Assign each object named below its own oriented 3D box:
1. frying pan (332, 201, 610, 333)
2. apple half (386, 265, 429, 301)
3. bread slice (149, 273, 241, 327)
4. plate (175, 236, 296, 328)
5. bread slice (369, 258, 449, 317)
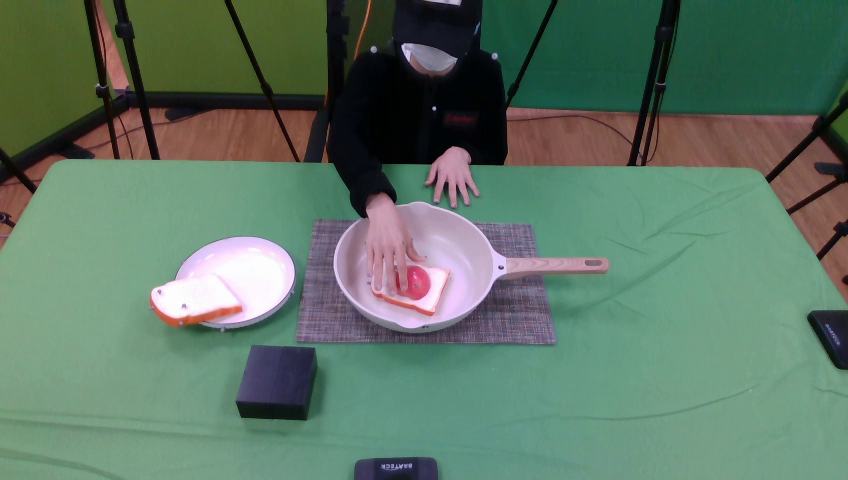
[{"bbox_3d":[0.085,0.052,1.093,0.488,0.103,0.305,-1,46,6],"label":"frying pan"},{"bbox_3d":[-0.027,0.068,1.090,0.081,0.033,0.081,4,47,-4],"label":"apple half"},{"bbox_3d":[-0.393,0.102,1.030,0.132,0.019,0.104,-14,43,-45],"label":"bread slice"},{"bbox_3d":[-0.335,0.077,1.087,0.208,0.039,0.206,2,46,-2],"label":"plate"},{"bbox_3d":[-0.031,0.084,1.110,0.134,0.018,0.106,14,46,6],"label":"bread slice"}]
